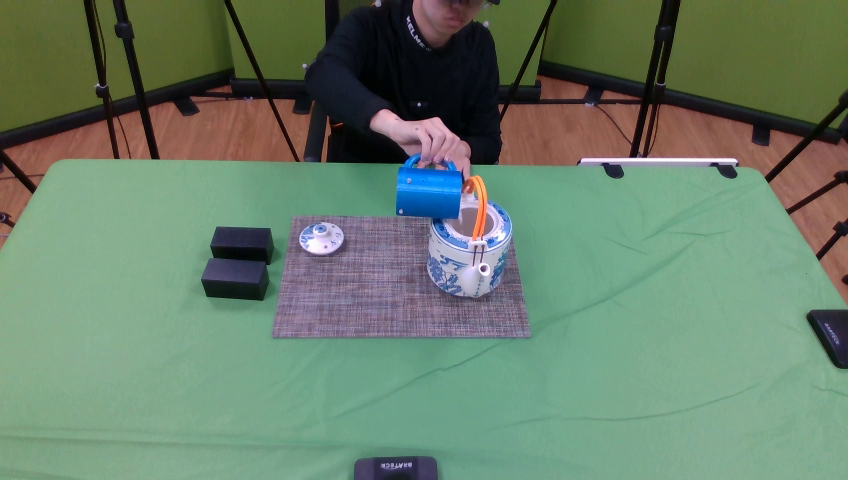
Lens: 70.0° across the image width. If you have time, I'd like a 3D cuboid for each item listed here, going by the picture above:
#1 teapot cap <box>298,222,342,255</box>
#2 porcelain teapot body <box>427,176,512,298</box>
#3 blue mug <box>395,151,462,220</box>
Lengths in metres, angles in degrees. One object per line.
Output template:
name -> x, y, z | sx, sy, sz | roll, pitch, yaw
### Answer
teapot cap -> -0.201, -0.008, 1.171 | 0.085, 0.044, 0.084 | 1, 48, -1
porcelain teapot body -> 0.085, 0.009, 1.051 | 0.145, 0.226, 0.204 | -5, 47, -8
blue mug -> 0.008, -0.095, 1.019 | 0.106, 0.082, 0.116 | 4, 77, -1
